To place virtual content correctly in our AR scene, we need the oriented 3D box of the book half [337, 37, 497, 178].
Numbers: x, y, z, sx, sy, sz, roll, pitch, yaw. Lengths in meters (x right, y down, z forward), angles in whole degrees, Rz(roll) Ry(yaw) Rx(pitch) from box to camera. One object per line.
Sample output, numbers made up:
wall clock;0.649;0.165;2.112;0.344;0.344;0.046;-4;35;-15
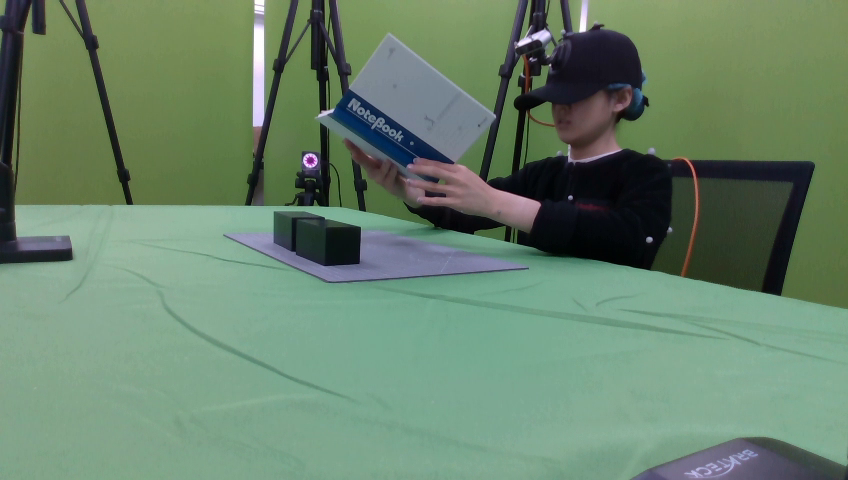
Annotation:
book half;-0.010;-0.196;0.935;0.211;0.143;0.007;33;36;-21
